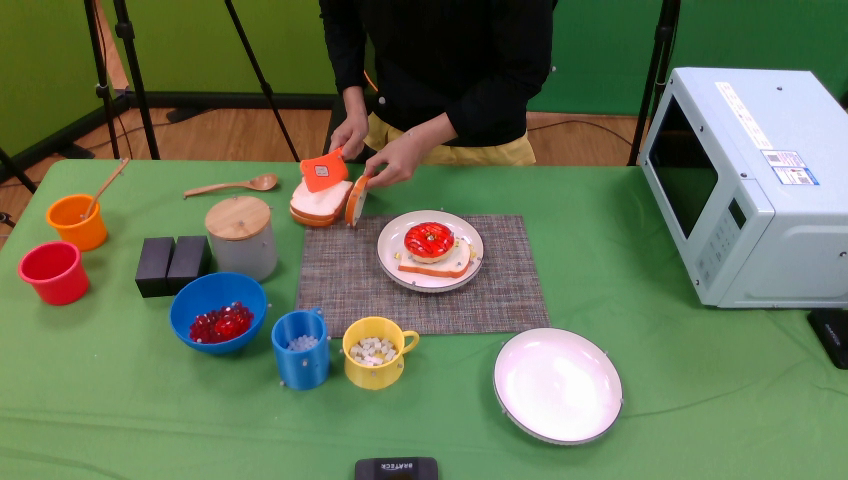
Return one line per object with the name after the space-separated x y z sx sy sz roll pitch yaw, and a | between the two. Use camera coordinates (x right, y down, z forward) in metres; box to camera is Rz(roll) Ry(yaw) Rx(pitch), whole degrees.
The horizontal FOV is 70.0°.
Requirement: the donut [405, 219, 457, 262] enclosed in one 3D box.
0.012 0.000 1.140 0.099 0.048 0.098 0 44 0 | donut

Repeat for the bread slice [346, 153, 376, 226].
-0.128 -0.095 1.222 0.018 0.107 0.133 16 50 3 | bread slice

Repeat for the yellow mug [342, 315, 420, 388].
-0.068 0.177 0.990 0.131 0.064 0.099 -16 50 -19 | yellow mug

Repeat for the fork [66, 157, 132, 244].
-0.608 -0.074 1.132 0.207 0.019 0.028 -52 48 10 | fork

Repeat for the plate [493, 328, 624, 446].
0.213 0.236 0.974 0.208 0.039 0.206 2 46 -2 | plate

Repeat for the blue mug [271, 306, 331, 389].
-0.188 0.163 0.969 0.082 0.106 0.116 15 47 10 | blue mug

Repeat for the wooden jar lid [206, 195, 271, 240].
-0.319 -0.036 1.046 0.108 0.021 0.107 1 44 0 | wooden jar lid

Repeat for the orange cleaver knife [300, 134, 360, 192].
-0.188 -0.164 1.273 0.012 0.077 0.211 -13 20 36 | orange cleaver knife

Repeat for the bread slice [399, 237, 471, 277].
0.025 0.025 1.160 0.131 0.019 0.104 7 47 7 | bread slice

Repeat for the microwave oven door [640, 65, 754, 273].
0.523 -0.147 1.193 0.039 0.245 0.353 0 47 -3 | microwave oven door

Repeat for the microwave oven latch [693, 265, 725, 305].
0.523 0.081 1.115 0.030 0.029 0.078 2 46 -1 | microwave oven latch

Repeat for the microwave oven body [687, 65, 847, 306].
0.669 -0.111 1.176 0.326 0.261 0.439 0 46 -3 | microwave oven body

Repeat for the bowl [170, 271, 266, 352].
-0.333 0.132 1.006 0.151 0.077 0.150 2 46 -2 | bowl

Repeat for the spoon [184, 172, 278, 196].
-0.405 -0.116 1.275 0.194 0.022 0.041 -8 66 -12 | spoon

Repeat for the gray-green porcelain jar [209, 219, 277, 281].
-0.323 0.007 1.092 0.106 0.127 0.105 2 46 -2 | gray-green porcelain jar

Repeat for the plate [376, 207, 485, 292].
0.012 0.021 1.158 0.209 0.038 0.208 2 47 -2 | plate
